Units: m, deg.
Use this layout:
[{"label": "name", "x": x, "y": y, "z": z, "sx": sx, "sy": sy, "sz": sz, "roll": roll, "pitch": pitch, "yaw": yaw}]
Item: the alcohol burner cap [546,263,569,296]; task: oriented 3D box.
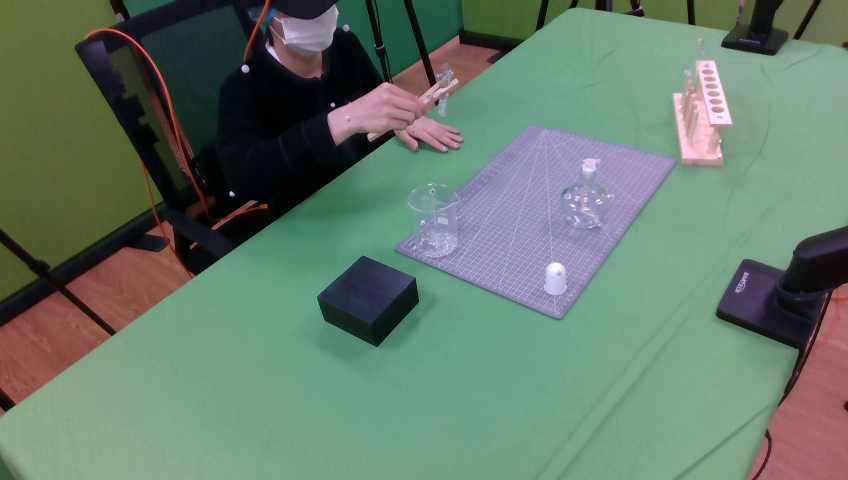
[{"label": "alcohol burner cap", "x": 0.191, "y": 0.053, "z": 0.862, "sx": 0.034, "sy": 0.048, "sz": 0.033, "roll": -5, "pitch": 40, "yaw": 4}]

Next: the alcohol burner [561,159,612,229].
[{"label": "alcohol burner", "x": 0.257, "y": -0.077, "z": 0.951, "sx": 0.078, "sy": 0.119, "sz": 0.077, "roll": -3, "pitch": 40, "yaw": 3}]

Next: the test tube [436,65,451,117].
[{"label": "test tube", "x": 0.031, "y": -0.246, "z": 1.015, "sx": 0.017, "sy": 0.150, "sz": 0.017, "roll": 1, "pitch": 73, "yaw": -2}]

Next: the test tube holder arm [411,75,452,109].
[{"label": "test tube holder arm", "x": 0.012, "y": -0.240, "z": 0.989, "sx": 0.088, "sy": 0.015, "sz": 0.010, "roll": -43, "pitch": 75, "yaw": -15}]

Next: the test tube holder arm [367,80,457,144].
[{"label": "test tube holder arm", "x": -0.018, "y": -0.208, "z": 0.977, "sx": 0.179, "sy": 0.015, "sz": 0.013, "roll": -38, "pitch": 74, "yaw": -14}]

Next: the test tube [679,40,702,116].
[{"label": "test tube", "x": 0.502, "y": -0.303, "z": 1.138, "sx": 0.017, "sy": 0.151, "sz": 0.017, "roll": -4, "pitch": 40, "yaw": 3}]

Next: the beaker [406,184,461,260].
[{"label": "beaker", "x": 0.019, "y": -0.026, "z": 0.939, "sx": 0.084, "sy": 0.101, "sz": 0.074, "roll": 1, "pitch": 41, "yaw": 9}]

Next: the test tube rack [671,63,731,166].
[{"label": "test tube rack", "x": 0.513, "y": -0.241, "z": 1.132, "sx": 0.066, "sy": 0.085, "sz": 0.242, "roll": 4, "pitch": 41, "yaw": 14}]
